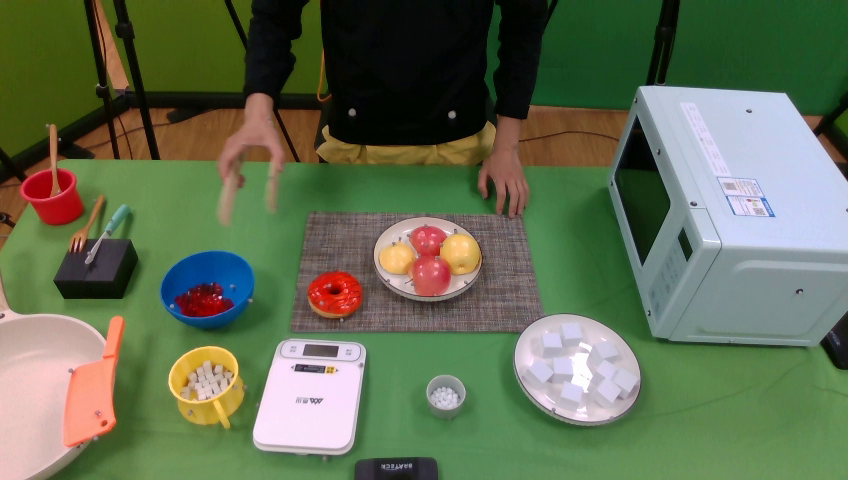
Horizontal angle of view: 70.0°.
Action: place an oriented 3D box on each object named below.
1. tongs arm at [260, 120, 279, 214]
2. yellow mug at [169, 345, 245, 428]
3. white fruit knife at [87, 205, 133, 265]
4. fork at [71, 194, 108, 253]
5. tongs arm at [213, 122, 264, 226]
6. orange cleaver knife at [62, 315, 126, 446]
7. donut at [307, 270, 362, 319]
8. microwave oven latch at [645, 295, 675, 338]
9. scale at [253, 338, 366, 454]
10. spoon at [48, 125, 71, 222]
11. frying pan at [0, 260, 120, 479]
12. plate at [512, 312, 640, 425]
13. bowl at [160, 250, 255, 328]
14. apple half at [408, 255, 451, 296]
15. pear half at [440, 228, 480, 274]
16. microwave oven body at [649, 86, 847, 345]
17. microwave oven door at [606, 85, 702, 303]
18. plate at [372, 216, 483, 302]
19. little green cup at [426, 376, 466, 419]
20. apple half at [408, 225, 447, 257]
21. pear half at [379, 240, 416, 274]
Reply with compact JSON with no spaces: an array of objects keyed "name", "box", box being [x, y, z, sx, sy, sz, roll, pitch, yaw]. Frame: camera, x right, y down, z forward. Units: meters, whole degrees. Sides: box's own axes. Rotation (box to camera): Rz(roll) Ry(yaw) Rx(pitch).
[{"name":"tongs arm","box":[-0.293,-0.144,1.105,0.051,0.026,0.382,-16,32,2]},{"name":"yellow mug","box":[-0.322,0.230,0.922,0.100,0.064,0.130,-24,53,-25]},{"name":"white fruit knife","box":[-0.584,-0.013,1.129,0.016,0.027,0.206,-1,32,-4]},{"name":"fork","box":[-0.634,-0.036,1.158,0.028,0.019,0.206,-8,31,-8]},{"name":"tongs arm","box":[-0.336,-0.132,1.105,0.028,0.028,0.385,-18,31,6]},{"name":"orange cleaver knife","box":[-0.480,0.199,0.887,0.077,0.012,0.210,-9,47,-8]},{"name":"donut","box":[-0.158,0.097,1.073,0.099,0.048,0.098,4,45,-4]},{"name":"microwave oven latch","box":[0.411,0.134,1.061,0.030,0.029,0.078,3,45,0]},{"name":"scale","box":[-0.175,0.236,0.951,0.149,0.032,0.199,4,45,-1]},{"name":"spoon","box":[-0.719,-0.131,1.189,0.041,0.021,0.193,-3,91,-6]},{"name":"frying pan","box":[-0.647,0.164,0.936,0.307,0.103,0.485,-19,58,-22]},{"name":"plate","box":[0.246,0.213,0.999,0.208,0.039,0.206,2,46,-2]},{"name":"bowl","box":[-0.362,0.098,1.040,0.151,0.077,0.150,2,45,-2]},{"name":"apple half","box":[0.012,0.058,1.103,0.075,0.053,0.080,-6,44,-13]},{"name":"pear half","box":[0.065,0.007,1.150,0.076,0.056,0.109,-11,44,-2]},{"name":"microwave oven body","box":[0.567,-0.053,1.118,0.326,0.261,0.439,2,45,-1]},{"name":"microwave oven door","box":[0.422,-0.094,1.140,0.039,0.245,0.353,2,46,-1]},{"name":"plate","box":[0.006,0.038,1.145,0.209,0.038,0.208,2,46,-2]},{"name":"little green cup","box":[0.033,0.248,0.950,0.061,0.039,0.061,2,46,-2]},{"name":"apple half","box":[0.011,-0.006,1.176,0.081,0.033,0.081,2,53,-3]},{"name":"pear half","box":[-0.048,0.024,1.146,0.070,0.031,0.087,11,47,-12]}]
